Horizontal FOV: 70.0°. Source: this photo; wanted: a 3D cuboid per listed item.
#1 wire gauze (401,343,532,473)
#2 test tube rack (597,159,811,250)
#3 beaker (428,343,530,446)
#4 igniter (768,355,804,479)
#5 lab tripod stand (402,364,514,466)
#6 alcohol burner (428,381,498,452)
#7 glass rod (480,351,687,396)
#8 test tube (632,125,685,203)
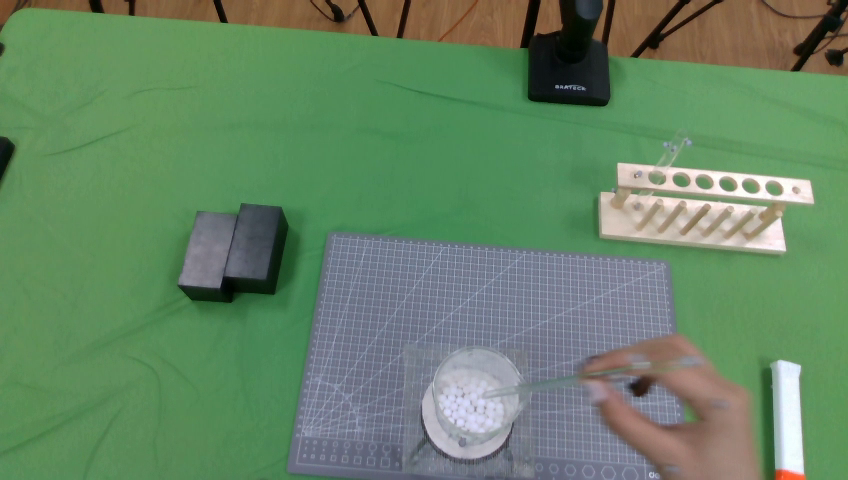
[{"bbox_3d":[0.040,0.157,0.579,0.125,0.011,0.120,1,63,1],"label":"wire gauze"},{"bbox_3d":[0.357,-0.045,0.785,0.242,0.086,0.066,5,65,1],"label":"test tube rack"},{"bbox_3d":[0.044,0.140,0.534,0.084,0.101,0.073,1,64,-2],"label":"beaker"},{"bbox_3d":[0.406,0.265,0.677,0.057,0.025,0.274,16,66,-6],"label":"igniter"},{"bbox_3d":[0.038,0.188,0.637,0.148,0.132,0.147,0,64,0],"label":"lab tripod stand"},{"bbox_3d":[0.044,0.186,0.650,0.078,0.120,0.077,2,64,-3],"label":"alcohol burner"},{"bbox_3d":[0.092,0.091,0.403,0.008,0.199,0.008,10,67,-26],"label":"glass rod"},{"bbox_3d":[0.287,-0.090,0.749,0.017,0.151,0.017,0,62,0],"label":"test tube"}]
